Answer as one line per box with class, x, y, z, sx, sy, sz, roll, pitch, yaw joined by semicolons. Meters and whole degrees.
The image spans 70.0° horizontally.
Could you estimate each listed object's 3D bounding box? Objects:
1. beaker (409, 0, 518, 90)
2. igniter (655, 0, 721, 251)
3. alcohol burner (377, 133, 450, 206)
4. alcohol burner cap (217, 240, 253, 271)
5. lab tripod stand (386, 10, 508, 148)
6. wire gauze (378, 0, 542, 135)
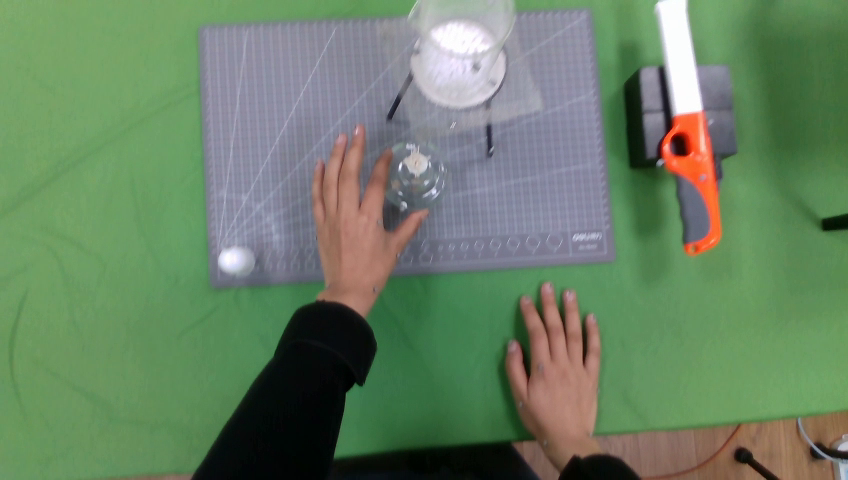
beaker;0.029;-0.174;0.508;0.084;0.100;0.074;-5;84;-3
igniter;0.277;-0.127;0.641;0.057;0.025;0.276;-6;86;8
alcohol burner;-0.011;-0.076;0.623;0.078;0.119;0.078;0;87;-2
alcohol burner cap;-0.203;0.015;0.642;0.034;0.048;0.034;0;86;-4
lab tripod stand;0.030;-0.168;0.622;0.148;0.131;0.148;0;84;-1
wire gauze;0.033;-0.167;0.556;0.125;0.011;0.121;-17;87;-6
